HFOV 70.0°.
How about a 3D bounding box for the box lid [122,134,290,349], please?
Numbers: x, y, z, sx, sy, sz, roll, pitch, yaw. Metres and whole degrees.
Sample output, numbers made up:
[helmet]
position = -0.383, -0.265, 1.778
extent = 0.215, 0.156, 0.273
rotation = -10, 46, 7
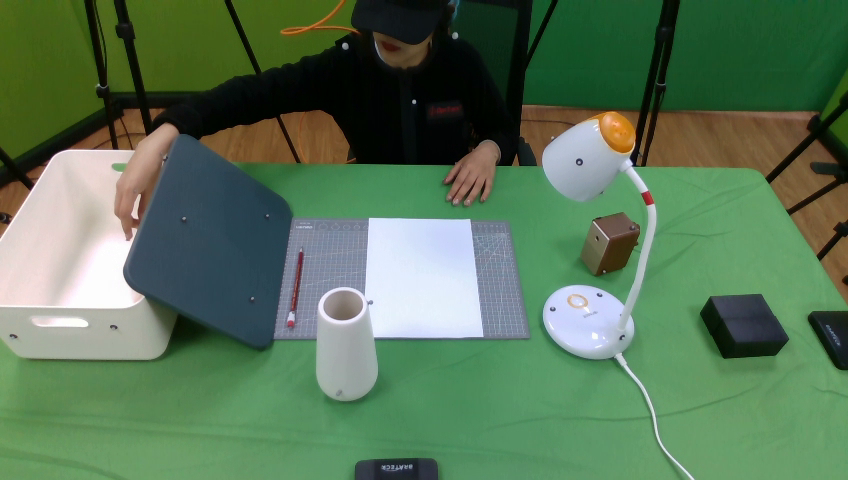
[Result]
[box lid]
position = -0.356, -0.008, 1.060
extent = 0.015, 0.265, 0.369
rotation = -33, 39, 26

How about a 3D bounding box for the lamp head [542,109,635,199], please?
[lamp head]
position = 0.253, -0.131, 0.893
extent = 0.113, 0.123, 0.112
rotation = 10, 66, -24

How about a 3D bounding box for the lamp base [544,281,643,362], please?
[lamp base]
position = 0.303, 0.095, 1.014
extent = 0.161, 0.181, 0.178
rotation = -24, 54, -24

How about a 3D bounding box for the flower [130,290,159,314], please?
[flower]
position = -0.477, 0.038, 1.068
extent = 0.038, 0.044, 0.359
rotation = -24, 28, -8

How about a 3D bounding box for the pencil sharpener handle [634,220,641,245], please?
[pencil sharpener handle]
position = 0.405, -0.015, 1.161
extent = 0.031, 0.068, 0.035
rotation = -15, 44, -18

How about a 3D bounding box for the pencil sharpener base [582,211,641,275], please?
[pencil sharpener base]
position = 0.357, 0.005, 1.155
extent = 0.077, 0.107, 0.061
rotation = -15, 48, -18

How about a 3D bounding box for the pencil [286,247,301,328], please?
[pencil]
position = -0.236, 0.080, 1.106
extent = 0.012, 0.012, 0.193
rotation = 0, 45, -4

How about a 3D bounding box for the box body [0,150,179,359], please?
[box body]
position = -0.541, 0.021, 1.042
extent = 0.254, 0.161, 0.361
rotation = 1, 46, -3

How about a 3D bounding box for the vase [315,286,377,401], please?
[vase]
position = -0.119, 0.159, 0.911
extent = 0.098, 0.201, 0.097
rotation = 2, 47, -2
